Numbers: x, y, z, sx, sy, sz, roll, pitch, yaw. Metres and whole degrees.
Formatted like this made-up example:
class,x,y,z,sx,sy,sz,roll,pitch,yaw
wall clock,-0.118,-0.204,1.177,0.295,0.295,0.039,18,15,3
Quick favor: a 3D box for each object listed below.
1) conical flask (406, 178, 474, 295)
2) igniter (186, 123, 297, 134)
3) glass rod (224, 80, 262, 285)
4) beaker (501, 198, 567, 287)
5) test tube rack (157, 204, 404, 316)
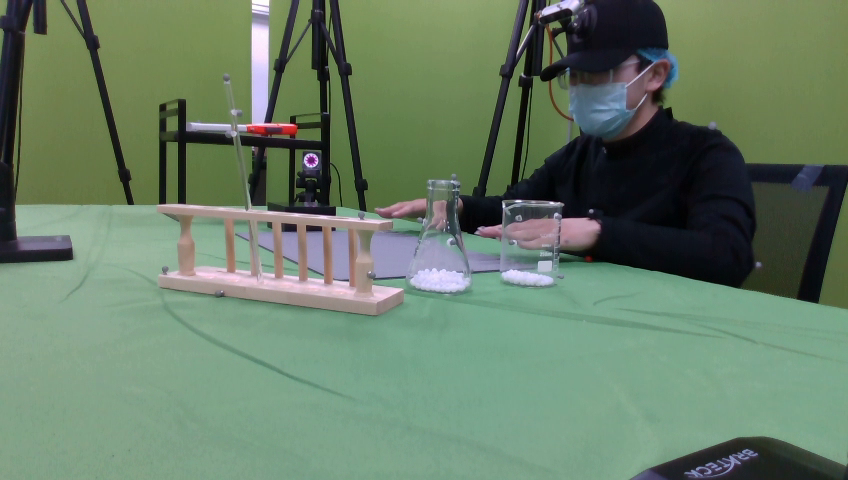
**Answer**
class,x,y,z,sx,sy,sz,roll,pitch,yaw
conical flask,0.019,-0.006,0.655,0.075,0.122,0.075,2,7,0
igniter,-0.392,-0.248,1.341,0.057,0.025,0.278,9,14,38
glass rod,-0.174,-0.052,0.582,0.008,0.199,0.008,-7,8,1
beaker,0.127,0.002,0.718,0.084,0.100,0.073,-4,9,-35
test tube rack,-0.143,0.013,0.599,0.242,0.085,0.067,5,8,19
